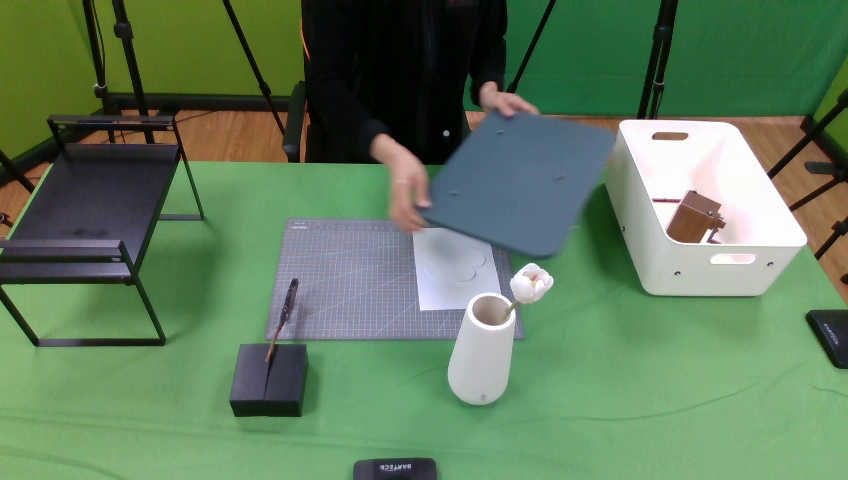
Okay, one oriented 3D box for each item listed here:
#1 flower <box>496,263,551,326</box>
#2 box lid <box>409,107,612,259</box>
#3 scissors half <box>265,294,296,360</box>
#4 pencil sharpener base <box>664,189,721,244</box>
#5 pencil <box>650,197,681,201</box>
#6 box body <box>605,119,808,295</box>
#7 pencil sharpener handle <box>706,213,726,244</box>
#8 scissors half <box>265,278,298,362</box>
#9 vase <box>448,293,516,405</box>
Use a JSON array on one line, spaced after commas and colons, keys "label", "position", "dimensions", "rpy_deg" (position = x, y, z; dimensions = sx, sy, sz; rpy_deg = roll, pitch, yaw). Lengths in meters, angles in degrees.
[{"label": "flower", "position": [0.102, 0.121, 0.852], "dimensions": [0.044, 0.363, 0.038], "rpy_deg": [-2, 64, -10]}, {"label": "box lid", "position": [0.163, -0.118, 1.084], "dimensions": [0.262, 0.015, 0.370], "rpy_deg": [19, 48, 21]}, {"label": "scissors half", "position": [-0.239, 0.143, 1.005], "dimensions": [0.013, 0.040, 0.174], "rpy_deg": [17, 28, -6]}, {"label": "pencil sharpener base", "position": [0.530, -0.034, 1.202], "dimensions": [0.076, 0.107, 0.061], "rpy_deg": [30, 51, 21]}, {"label": "pencil", "position": [0.513, -0.090, 1.322], "dimensions": [0.194, 0.012, 0.012], "rpy_deg": [2, 46, 1]}, {"label": "box body", "position": [0.529, -0.068, 1.205], "dimensions": [0.254, 0.161, 0.361], "rpy_deg": [1, 46, -4]}, {"label": "pencil sharpener handle", "position": [0.572, -0.018, 1.174], "dimensions": [0.030, 0.068, 0.036], "rpy_deg": [30, 47, 22]}, {"label": "scissors half", "position": [-0.234, 0.127, 0.993], "dimensions": [0.013, 0.040, 0.174], "rpy_deg": [12, 46, -3]}, {"label": "vase", "position": [0.091, 0.169, 0.921], "dimensions": [0.098, 0.201, 0.097], "rpy_deg": [3, 47, -3]}]
